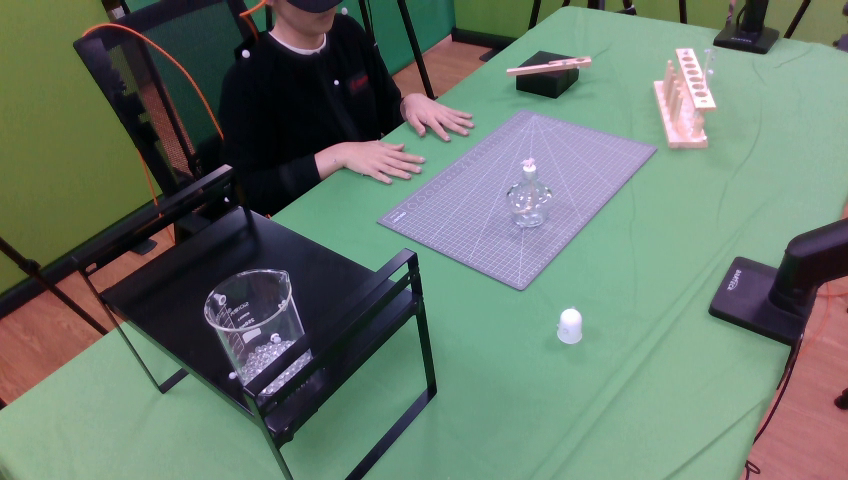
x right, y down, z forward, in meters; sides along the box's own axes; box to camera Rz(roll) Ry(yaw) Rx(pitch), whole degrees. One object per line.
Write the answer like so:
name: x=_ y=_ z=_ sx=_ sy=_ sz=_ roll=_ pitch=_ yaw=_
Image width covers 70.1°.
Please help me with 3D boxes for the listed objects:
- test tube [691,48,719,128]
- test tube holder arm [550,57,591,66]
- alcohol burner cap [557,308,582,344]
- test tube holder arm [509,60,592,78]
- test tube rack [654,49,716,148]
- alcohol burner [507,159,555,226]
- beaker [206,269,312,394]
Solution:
test tube: x=0.504 y=-0.271 z=1.089 sx=0.017 sy=0.151 sz=0.017 roll=-2 pitch=38 yaw=2
test tube holder arm: x=0.313 y=-0.377 z=1.294 sx=0.088 sy=0.015 sz=0.010 roll=-8 pitch=48 yaw=1
alcohol burner cap: x=0.194 y=0.111 z=0.802 sx=0.034 sy=0.048 sz=0.033 roll=-4 pitch=39 yaw=3
test tube holder arm: x=0.269 y=-0.366 z=1.291 sx=0.178 sy=0.015 sz=0.013 roll=-9 pitch=48 yaw=0
test tube rack: x=0.502 y=-0.281 z=1.176 sx=0.066 sy=0.085 sz=0.241 roll=2 pitch=41 yaw=11
alcohol burner: x=0.172 y=-0.081 z=0.969 sx=0.078 sy=0.119 sz=0.077 roll=-4 pitch=42 yaw=4
beaker: x=-0.146 y=0.086 z=0.560 sx=0.073 sy=0.101 sz=0.084 roll=19 pitch=46 yaw=27
